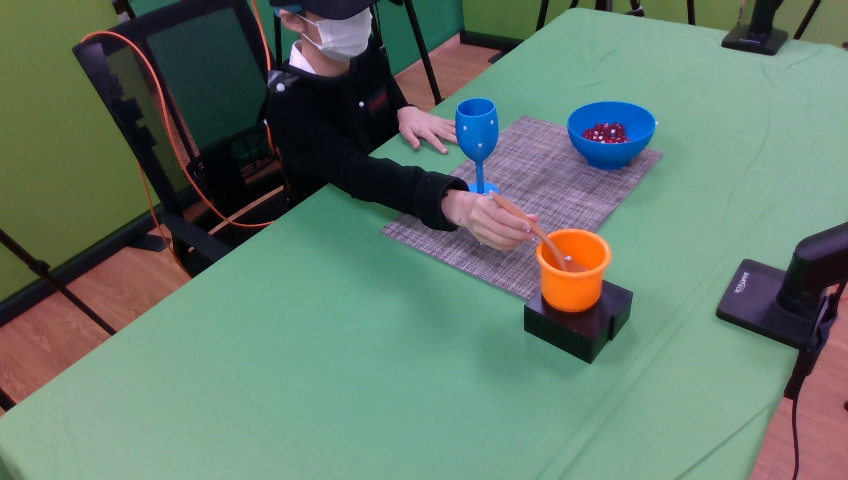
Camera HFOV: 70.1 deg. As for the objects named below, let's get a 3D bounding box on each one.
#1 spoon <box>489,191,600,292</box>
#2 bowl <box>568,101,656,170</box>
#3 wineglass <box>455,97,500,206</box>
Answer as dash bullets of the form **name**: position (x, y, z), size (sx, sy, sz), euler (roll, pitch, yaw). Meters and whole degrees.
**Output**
- **spoon**: position (0.155, 0.001, 0.771), size (0.021, 0.194, 0.041), euler (-31, 21, 45)
- **bowl**: position (0.332, -0.179, 1.084), size (0.151, 0.077, 0.150), euler (-4, 40, 4)
- **wineglass**: position (0.092, -0.145, 1.009), size (0.074, 0.173, 0.073), euler (-5, 40, 4)
